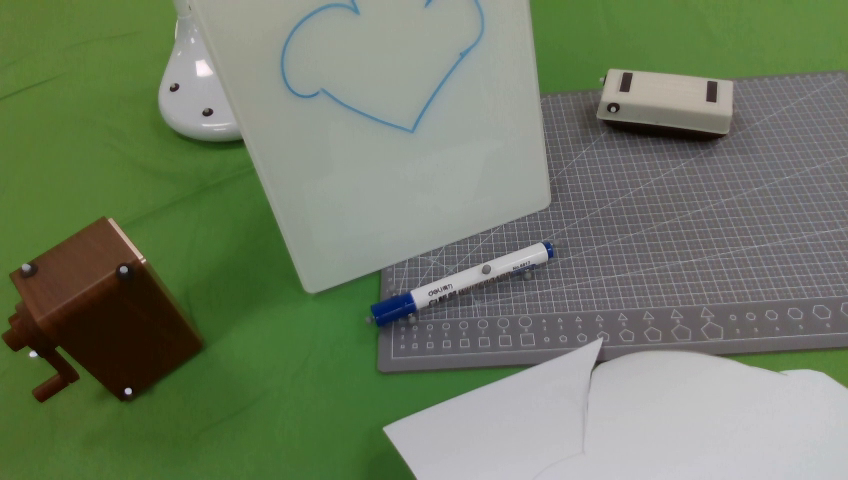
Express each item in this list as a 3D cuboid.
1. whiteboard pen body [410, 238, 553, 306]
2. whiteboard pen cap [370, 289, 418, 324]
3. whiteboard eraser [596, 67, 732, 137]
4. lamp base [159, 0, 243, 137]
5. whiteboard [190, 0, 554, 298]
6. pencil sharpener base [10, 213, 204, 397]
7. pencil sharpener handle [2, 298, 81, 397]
[{"bbox_3d":[0.033,0.028,0.455,0.141,0.017,0.017,-20,51,-9],"label":"whiteboard pen body"},{"bbox_3d":[-0.022,0.048,0.446,0.033,0.018,0.018,-21,52,-9],"label":"whiteboard pen cap"},{"bbox_3d":[0.216,-0.125,0.548,0.112,0.042,0.055,11,54,15],"label":"whiteboard eraser"},{"bbox_3d":[-0.213,-0.218,0.584,0.177,0.182,0.160,30,60,30],"label":"lamp base"},{"bbox_3d":[-0.043,-0.149,0.466,0.217,0.308,0.142,-20,32,-9],"label":"whiteboard"},{"bbox_3d":[-0.213,0.048,0.415,0.076,0.108,0.061,-38,57,-22],"label":"pencil sharpener base"},{"bbox_3d":[-0.249,0.071,0.384,0.030,0.068,0.035,-38,44,-22],"label":"pencil sharpener handle"}]
